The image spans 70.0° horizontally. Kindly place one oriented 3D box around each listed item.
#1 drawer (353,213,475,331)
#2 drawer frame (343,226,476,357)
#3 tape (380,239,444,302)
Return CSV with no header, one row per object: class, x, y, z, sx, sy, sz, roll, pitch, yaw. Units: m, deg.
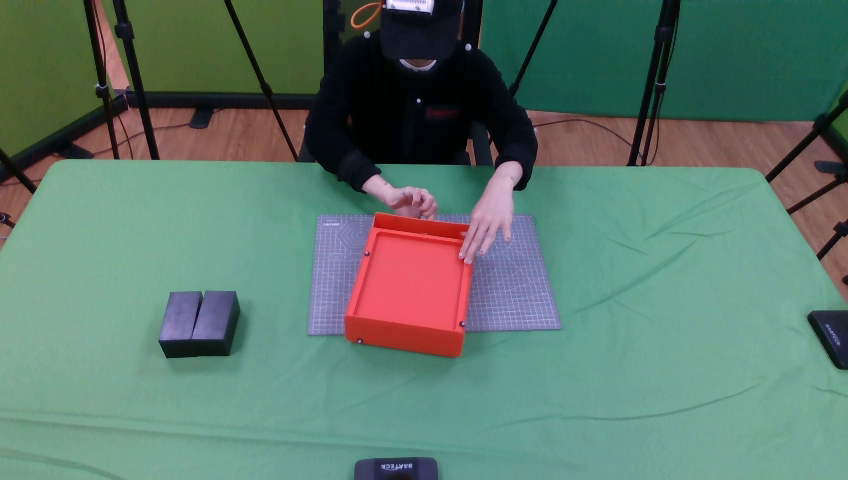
drawer,-0.014,0.054,1.099,0.194,0.073,0.210,8,46,3
drawer frame,-0.019,0.085,1.068,0.201,0.083,0.212,8,47,3
tape,-0.021,0.055,1.107,0.117,0.053,0.116,2,45,-2
